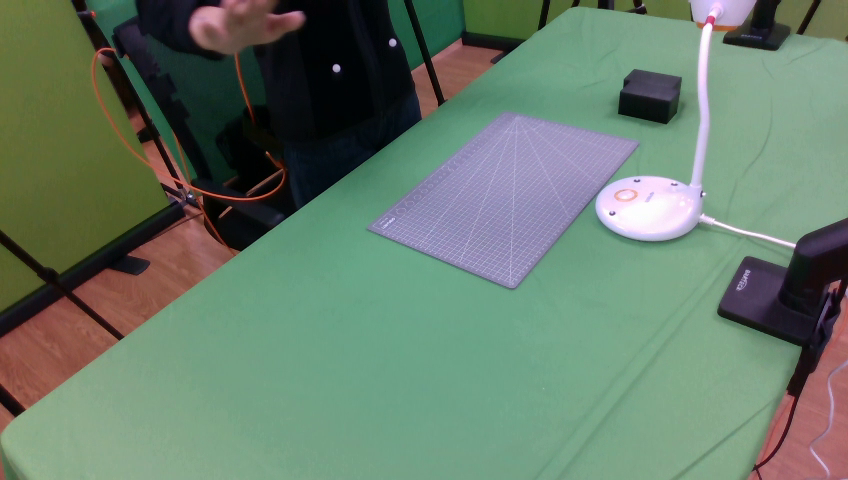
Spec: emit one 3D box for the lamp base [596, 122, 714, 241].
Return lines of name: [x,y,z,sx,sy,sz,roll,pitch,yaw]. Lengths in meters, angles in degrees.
lamp base: [0.363,-0.110,0.921,0.178,0.181,0.160,13,45,21]

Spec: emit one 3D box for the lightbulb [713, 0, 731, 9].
lightbulb: [0.432,-0.387,0.864,0.059,0.108,0.059,-5,31,4]

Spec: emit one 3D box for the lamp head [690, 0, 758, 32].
lamp head: [0.434,-0.363,0.870,0.112,0.123,0.112,2,28,0]
